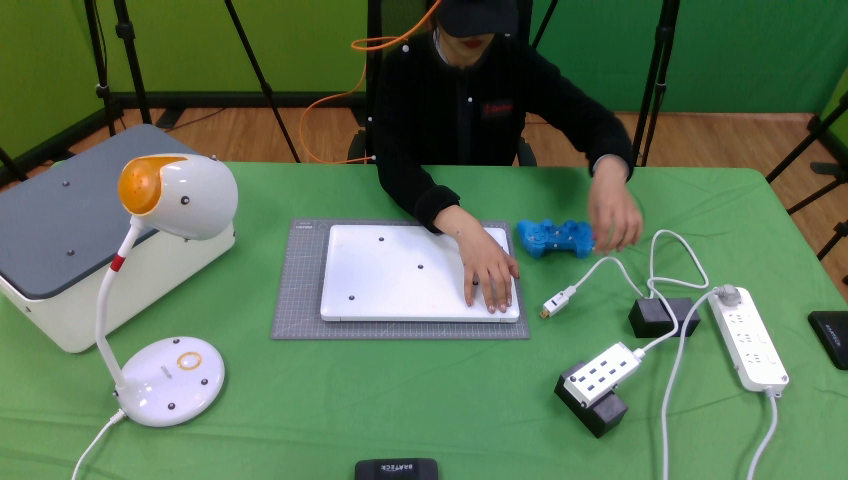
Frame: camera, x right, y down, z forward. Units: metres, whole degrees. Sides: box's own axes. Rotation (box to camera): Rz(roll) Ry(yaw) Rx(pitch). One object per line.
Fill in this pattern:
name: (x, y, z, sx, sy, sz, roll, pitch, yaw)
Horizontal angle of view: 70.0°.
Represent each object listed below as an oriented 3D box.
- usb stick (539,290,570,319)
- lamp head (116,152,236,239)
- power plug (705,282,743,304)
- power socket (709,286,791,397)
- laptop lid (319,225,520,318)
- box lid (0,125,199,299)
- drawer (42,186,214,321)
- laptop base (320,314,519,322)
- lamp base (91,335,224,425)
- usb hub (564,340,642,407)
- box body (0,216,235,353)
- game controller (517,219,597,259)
usb stick: (0.233, 0.118, 1.090, 0.059, 0.027, 0.021, -36, 66, -9)
lamp head: (-0.315, -0.057, 0.748, 0.112, 0.112, 0.123, 26, 10, 20)
power plug: (0.539, 0.097, 1.098, 0.072, 0.053, 0.035, 8, 47, 8)
power socket: (0.567, 0.167, 1.064, 0.072, 0.033, 0.225, 2, 46, -1)
laptop lid: (-0.008, 0.052, 1.131, 0.357, 0.013, 0.240, 2, 44, -2)
box lid: (-0.540, -0.068, 1.016, 0.262, 0.015, 0.371, 30, 51, 23)
drawer: (-0.529, 0.018, 1.097, 0.194, 0.073, 0.211, 29, 53, 20)
laptop base: (-0.009, 0.062, 1.138, 0.354, 0.023, 0.234, 1, 43, -3)
lamp base: (-0.401, 0.170, 0.892, 0.160, 0.181, 0.179, 30, 53, 23)
usb hub: (0.280, 0.206, 0.944, 0.125, 0.025, 0.049, -26, 52, -27)
box body: (-0.550, -0.006, 1.068, 0.253, 0.161, 0.363, 30, 51, 23)
game controller: (0.269, -0.012, 1.210, 0.155, 0.052, 0.096, 1, 49, -2)
